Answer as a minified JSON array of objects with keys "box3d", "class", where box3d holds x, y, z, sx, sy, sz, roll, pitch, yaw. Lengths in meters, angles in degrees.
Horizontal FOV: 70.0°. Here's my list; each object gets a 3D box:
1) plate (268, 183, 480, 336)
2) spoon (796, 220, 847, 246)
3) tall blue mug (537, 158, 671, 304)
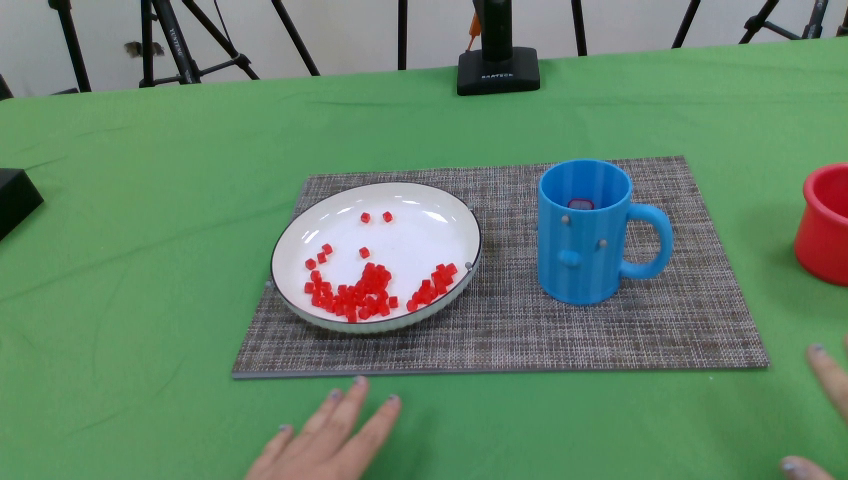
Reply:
[{"box3d":[-0.047,0.018,0.599,0.207,0.039,0.205,-5,41,4],"class":"plate"},{"box3d":[0.406,-0.026,0.495,0.041,0.193,0.021,-36,93,-34],"class":"spoon"},{"box3d":[0.154,-0.008,0.539,0.107,0.109,0.077,-7,40,3],"class":"tall blue mug"}]
